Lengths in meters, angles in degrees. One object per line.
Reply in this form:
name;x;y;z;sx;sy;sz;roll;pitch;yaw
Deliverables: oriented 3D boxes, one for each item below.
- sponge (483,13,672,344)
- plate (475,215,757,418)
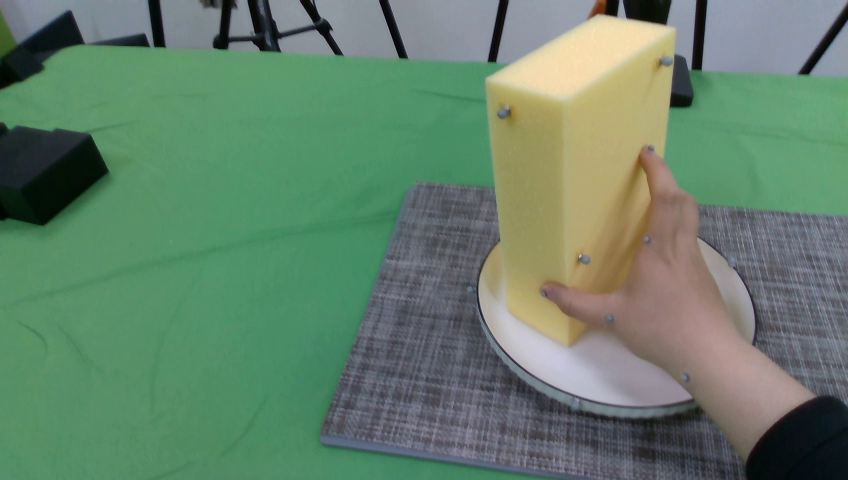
sponge;0.112;-0.039;0.436;0.118;0.209;0.060;-37;46;-27
plate;0.144;0.052;0.476;0.207;0.039;0.205;-2;43;2
